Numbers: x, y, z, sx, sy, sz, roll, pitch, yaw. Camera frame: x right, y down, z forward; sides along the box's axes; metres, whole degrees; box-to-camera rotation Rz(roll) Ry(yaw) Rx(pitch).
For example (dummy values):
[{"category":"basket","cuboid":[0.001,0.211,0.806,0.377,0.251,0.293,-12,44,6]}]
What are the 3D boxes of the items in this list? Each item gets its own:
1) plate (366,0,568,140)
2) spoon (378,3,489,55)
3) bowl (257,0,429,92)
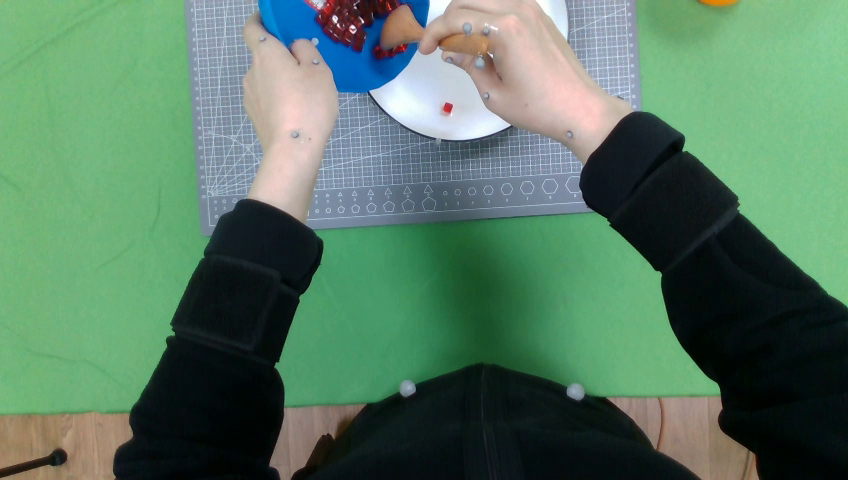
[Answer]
[{"category":"plate","cuboid":[0.033,-0.200,0.587,0.209,0.038,0.209,0,92,3]},{"category":"spoon","cuboid":[0.003,-0.152,0.446,0.022,0.191,0.041,25,99,-33]},{"category":"bowl","cuboid":[-0.078,-0.203,0.496,0.076,0.153,0.151,26,94,45]}]
